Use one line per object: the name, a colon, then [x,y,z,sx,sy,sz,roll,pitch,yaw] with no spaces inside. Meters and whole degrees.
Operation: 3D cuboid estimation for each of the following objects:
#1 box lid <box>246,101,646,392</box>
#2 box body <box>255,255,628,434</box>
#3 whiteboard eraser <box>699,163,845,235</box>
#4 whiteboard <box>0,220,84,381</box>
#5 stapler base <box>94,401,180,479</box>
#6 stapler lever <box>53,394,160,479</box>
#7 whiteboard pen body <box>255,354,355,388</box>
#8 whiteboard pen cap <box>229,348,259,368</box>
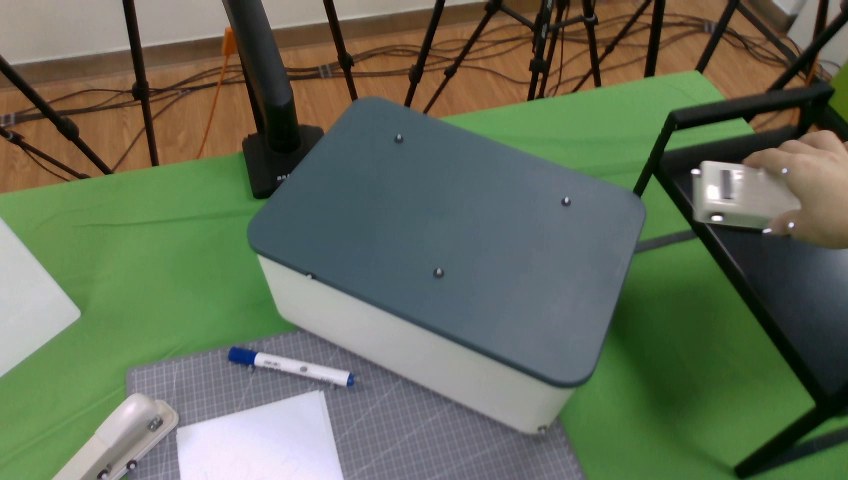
box lid: [0.030,-0.018,0.639,0.370,0.015,0.262,23,54,12]
box body: [0.027,0.028,0.697,0.362,0.162,0.253,22,54,13]
whiteboard eraser: [0.307,-0.036,0.541,0.112,0.042,0.055,6,67,9]
whiteboard: [-0.553,0.024,0.609,0.142,0.308,0.217,21,52,36]
stapler base: [-0.312,0.216,0.616,0.041,0.024,0.130,32,60,24]
stapler lever: [-0.313,0.202,0.595,0.026,0.040,0.118,32,60,24]
whiteboard pen body: [-0.146,0.145,0.681,0.140,0.017,0.017,11,52,7]
whiteboard pen cap: [-0.203,0.134,0.688,0.033,0.018,0.018,11,52,7]
